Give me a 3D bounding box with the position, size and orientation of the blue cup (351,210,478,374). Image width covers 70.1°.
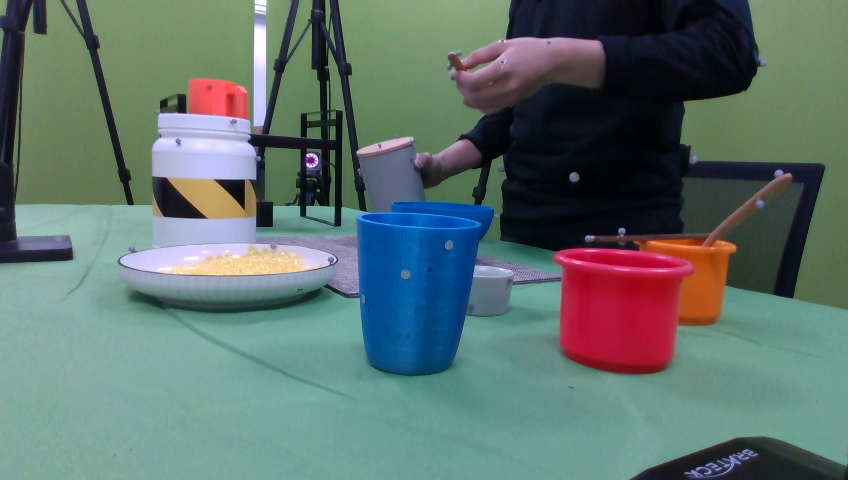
[{"bbox_3d":[-0.009,0.034,0.414,0.093,0.100,0.092,4,8,0],"label":"blue cup"}]

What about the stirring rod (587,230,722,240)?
[{"bbox_3d":[0.227,-0.005,0.586,0.177,0.006,0.014,-1,7,-28],"label":"stirring rod"}]

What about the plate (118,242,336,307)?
[{"bbox_3d":[-0.194,0.033,0.615,0.209,0.038,0.209,2,7,0],"label":"plate"}]

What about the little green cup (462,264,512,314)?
[{"bbox_3d":[0.053,0.047,0.580,0.061,0.038,0.061,3,8,0],"label":"little green cup"}]

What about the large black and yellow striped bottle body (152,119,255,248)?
[{"bbox_3d":[-0.296,-0.070,0.819,0.131,0.184,0.130,2,7,0],"label":"large black and yellow striped bottle body"}]

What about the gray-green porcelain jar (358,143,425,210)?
[{"bbox_3d":[-0.057,-0.105,1.112,0.106,0.126,0.106,-11,16,3],"label":"gray-green porcelain jar"}]

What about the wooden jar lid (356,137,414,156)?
[{"bbox_3d":[-0.069,-0.163,1.095,0.108,0.021,0.108,-11,17,4],"label":"wooden jar lid"}]

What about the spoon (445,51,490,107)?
[{"bbox_3d":[0.055,-0.218,0.828,0.041,0.021,0.194,4,-8,17],"label":"spoon"}]

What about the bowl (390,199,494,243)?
[{"bbox_3d":[0.024,-0.015,0.871,0.151,0.077,0.151,3,7,0],"label":"bowl"}]

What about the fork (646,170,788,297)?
[{"bbox_3d":[0.256,0.004,0.543,0.028,0.018,0.207,3,-36,-9],"label":"fork"}]

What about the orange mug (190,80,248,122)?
[{"bbox_3d":[-0.394,-0.257,1.173,0.126,0.100,0.084,1,6,25],"label":"orange mug"}]

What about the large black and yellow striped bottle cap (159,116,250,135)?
[{"bbox_3d":[-0.292,-0.153,0.810,0.115,0.019,0.115,3,8,0],"label":"large black and yellow striped bottle cap"}]
